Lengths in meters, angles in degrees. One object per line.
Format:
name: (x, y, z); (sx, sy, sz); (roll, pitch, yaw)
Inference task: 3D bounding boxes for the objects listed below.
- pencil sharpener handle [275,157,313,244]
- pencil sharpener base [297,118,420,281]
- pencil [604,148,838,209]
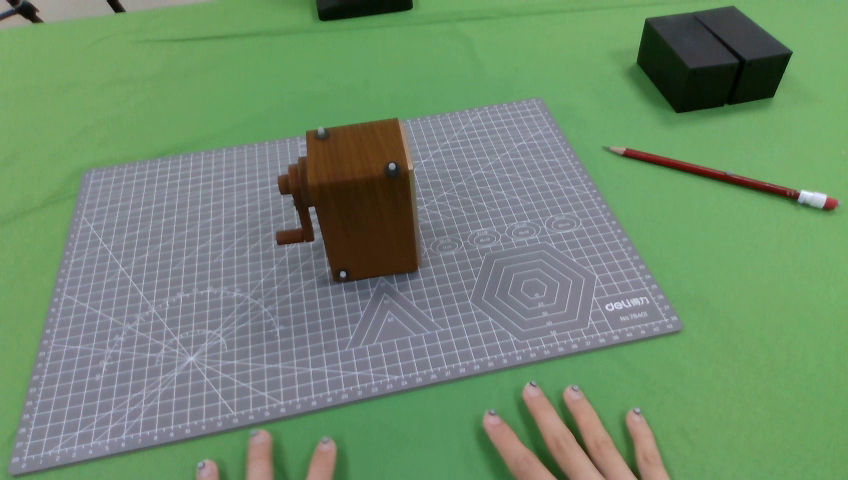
pencil sharpener handle: (-0.097, -0.025, 0.432); (0.031, 0.068, 0.035); (-9, 36, -4)
pencil sharpener base: (-0.046, -0.026, 0.448); (0.077, 0.108, 0.060); (-9, 47, -4)
pencil: (0.254, -0.057, 0.532); (0.193, 0.012, 0.012); (18, 50, 21)
